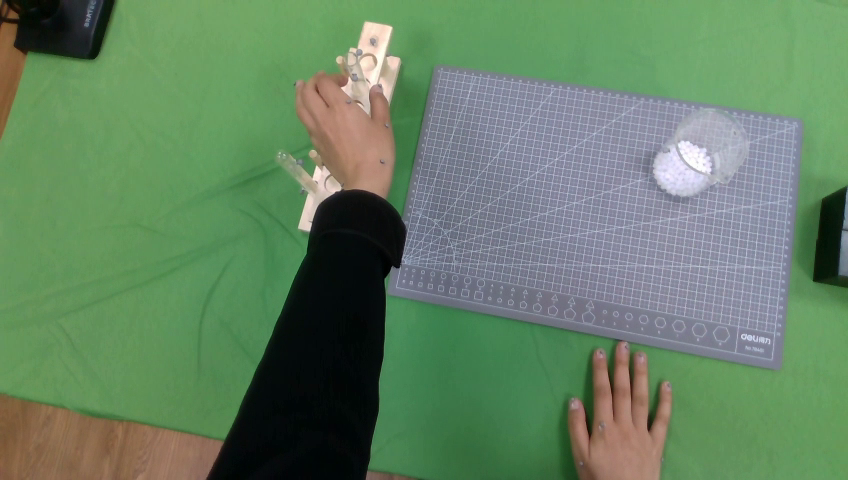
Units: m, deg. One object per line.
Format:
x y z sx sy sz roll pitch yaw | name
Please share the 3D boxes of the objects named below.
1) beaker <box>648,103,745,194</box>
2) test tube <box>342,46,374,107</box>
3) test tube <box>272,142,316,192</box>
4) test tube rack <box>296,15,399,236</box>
0.298 -0.094 0.673 0.074 0.100 0.083 -18 79 0 | beaker
-0.071 -0.177 0.672 0.017 0.150 0.017 0 84 2 | test tube
-0.137 -0.077 0.661 0.017 0.151 0.017 -1 80 4 | test tube
-0.095 -0.135 0.715 0.066 0.085 0.241 14 81 6 | test tube rack
